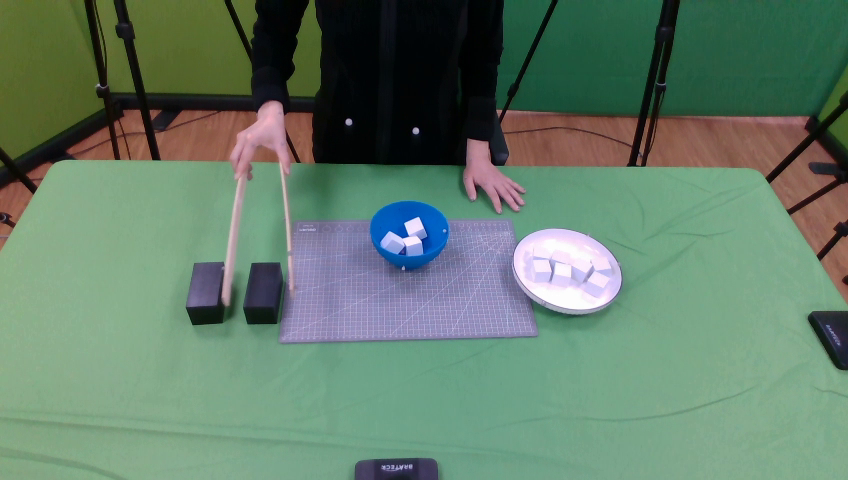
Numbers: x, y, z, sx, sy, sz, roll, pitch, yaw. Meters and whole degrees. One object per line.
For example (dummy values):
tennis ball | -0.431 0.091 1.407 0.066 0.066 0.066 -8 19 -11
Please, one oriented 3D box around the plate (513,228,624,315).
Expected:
plate | 0.268 0.063 1.146 0.208 0.039 0.206 3 46 -3

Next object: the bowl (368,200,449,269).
bowl | -0.031 0.002 1.151 0.151 0.077 0.150 2 46 -2

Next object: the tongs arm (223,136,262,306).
tongs arm | -0.320 -0.049 1.069 0.028 0.028 0.385 -7 50 2

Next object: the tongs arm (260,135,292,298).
tongs arm | -0.265 -0.056 1.075 0.051 0.027 0.382 -9 51 -5
